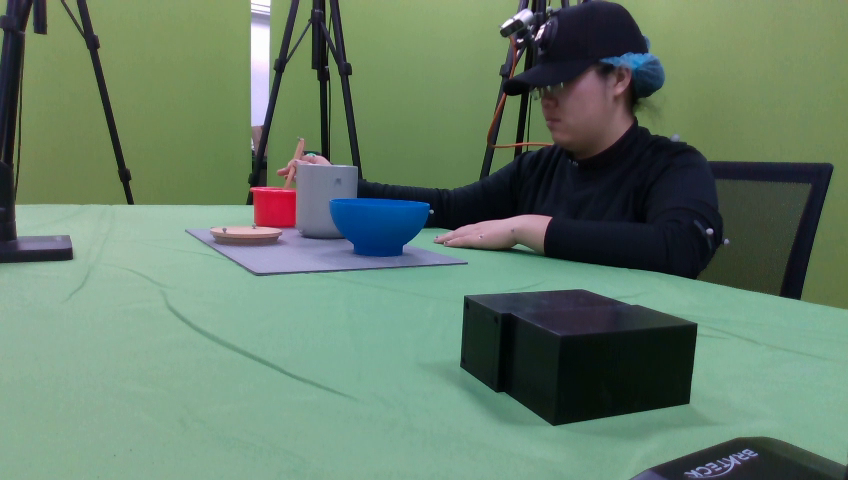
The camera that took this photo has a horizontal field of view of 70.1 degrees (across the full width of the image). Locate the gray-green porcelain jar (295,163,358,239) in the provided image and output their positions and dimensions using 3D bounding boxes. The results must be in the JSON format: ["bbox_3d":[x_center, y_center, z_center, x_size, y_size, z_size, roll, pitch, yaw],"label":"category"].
[{"bbox_3d":[-0.170,-0.069,1.054,0.106,0.126,0.106,3,7,0],"label":"gray-green porcelain jar"}]

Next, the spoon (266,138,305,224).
[{"bbox_3d":[-0.269,-0.120,1.208,0.042,0.193,0.021,19,-17,-9],"label":"spoon"}]

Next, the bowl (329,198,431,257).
[{"bbox_3d":[-0.067,-0.019,0.894,0.151,0.077,0.151,3,7,0],"label":"bowl"}]

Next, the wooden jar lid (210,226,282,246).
[{"bbox_3d":[-0.279,-0.007,0.951,0.108,0.020,0.108,2,8,0],"label":"wooden jar lid"}]
